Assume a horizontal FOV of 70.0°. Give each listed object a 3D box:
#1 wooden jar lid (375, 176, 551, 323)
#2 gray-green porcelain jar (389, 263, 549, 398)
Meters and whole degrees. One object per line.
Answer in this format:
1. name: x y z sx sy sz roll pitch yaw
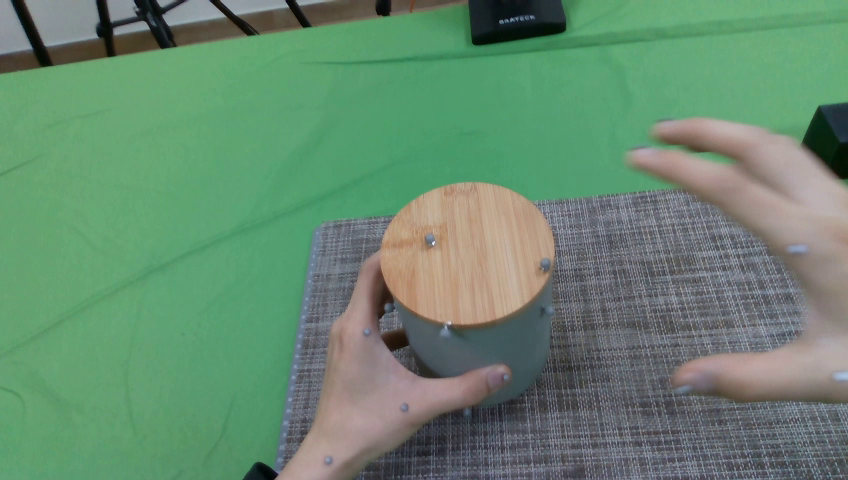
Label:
1. wooden jar lid: 0.025 0.006 0.379 0.108 0.021 0.107 -3 55 5
2. gray-green porcelain jar: 0.034 0.044 0.427 0.106 0.128 0.105 -5 52 6
